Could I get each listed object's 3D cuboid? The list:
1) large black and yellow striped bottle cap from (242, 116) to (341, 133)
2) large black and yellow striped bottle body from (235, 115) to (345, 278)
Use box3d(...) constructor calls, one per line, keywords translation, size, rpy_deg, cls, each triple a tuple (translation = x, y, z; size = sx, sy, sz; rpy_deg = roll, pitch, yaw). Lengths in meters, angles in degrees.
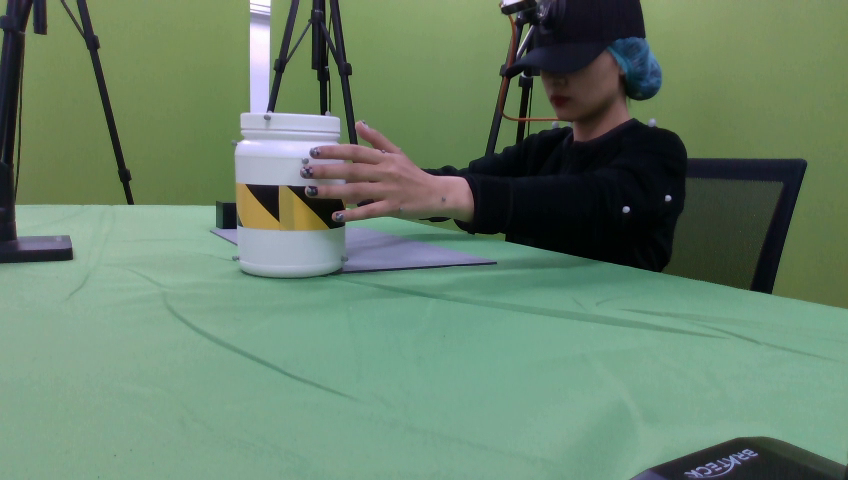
box3d(translation=(-0.157, -0.137, 0.718), size=(0.115, 0.019, 0.115), rpy_deg=(1, 10, 0), cls="large black and yellow striped bottle cap")
box3d(translation=(-0.161, -0.055, 0.732), size=(0.131, 0.184, 0.130), rpy_deg=(2, 9, 0), cls="large black and yellow striped bottle body")
